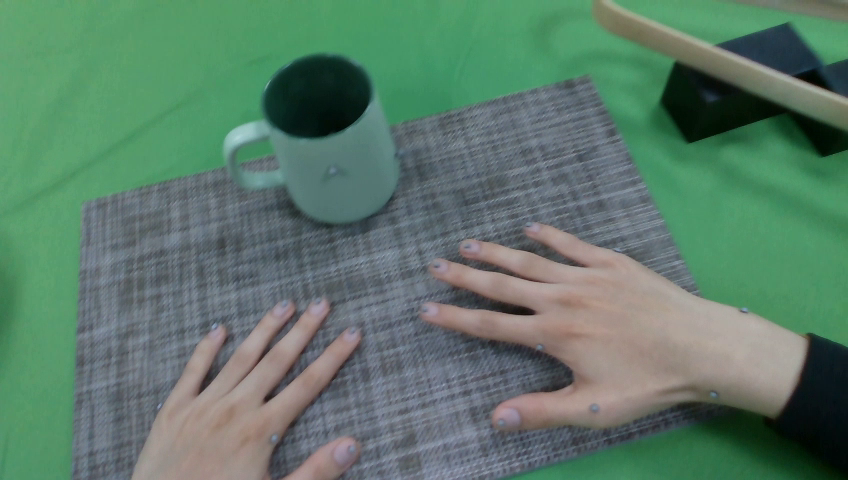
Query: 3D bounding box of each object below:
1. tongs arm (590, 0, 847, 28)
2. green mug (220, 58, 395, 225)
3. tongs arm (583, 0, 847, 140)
[{"bbox_3d":[0.320,-0.164,0.469,0.383,0.027,0.050,18,68,14],"label":"tongs arm"},{"bbox_3d":[-0.088,-0.067,0.457,0.125,0.106,0.091,-16,61,-4],"label":"green mug"},{"bbox_3d":[0.284,-0.101,0.440,0.385,0.028,0.028,30,75,19],"label":"tongs arm"}]
